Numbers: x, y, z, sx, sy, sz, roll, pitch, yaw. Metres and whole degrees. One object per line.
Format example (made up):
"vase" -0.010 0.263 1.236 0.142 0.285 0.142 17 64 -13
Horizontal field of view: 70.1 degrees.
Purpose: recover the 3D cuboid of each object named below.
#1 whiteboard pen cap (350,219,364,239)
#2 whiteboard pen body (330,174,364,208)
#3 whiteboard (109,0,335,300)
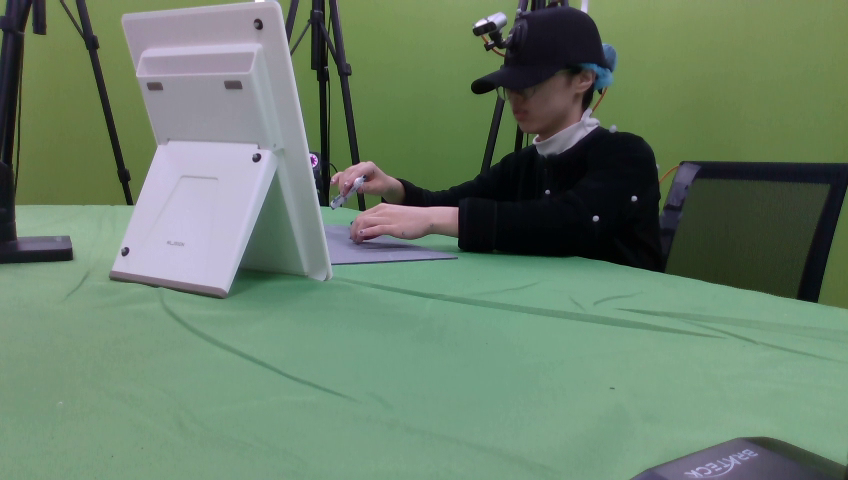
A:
"whiteboard pen cap" -0.113 -0.019 1.007 0.018 0.033 0.018 -18 -18 -6
"whiteboard pen body" -0.140 -0.091 1.111 0.017 0.017 0.140 -3 -18 -33
"whiteboard" -0.247 -0.072 0.624 0.216 0.305 0.144 6 28 26
